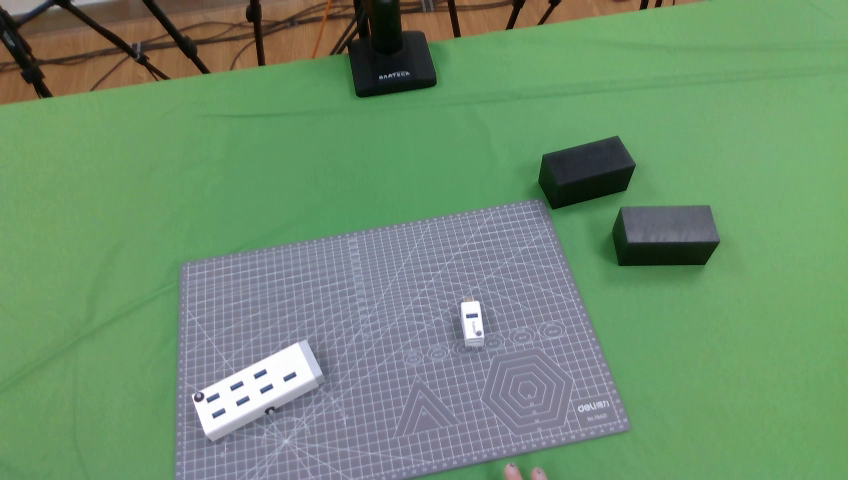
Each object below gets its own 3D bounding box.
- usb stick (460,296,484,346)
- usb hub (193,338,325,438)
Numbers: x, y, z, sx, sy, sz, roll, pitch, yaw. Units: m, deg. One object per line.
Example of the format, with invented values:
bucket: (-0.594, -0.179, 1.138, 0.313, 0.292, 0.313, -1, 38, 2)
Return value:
usb stick: (0.051, 0.085, 0.662, 0.021, 0.027, 0.058, -6, 54, 1)
usb hub: (-0.169, 0.151, 0.627, 0.125, 0.025, 0.049, -25, 59, -14)
